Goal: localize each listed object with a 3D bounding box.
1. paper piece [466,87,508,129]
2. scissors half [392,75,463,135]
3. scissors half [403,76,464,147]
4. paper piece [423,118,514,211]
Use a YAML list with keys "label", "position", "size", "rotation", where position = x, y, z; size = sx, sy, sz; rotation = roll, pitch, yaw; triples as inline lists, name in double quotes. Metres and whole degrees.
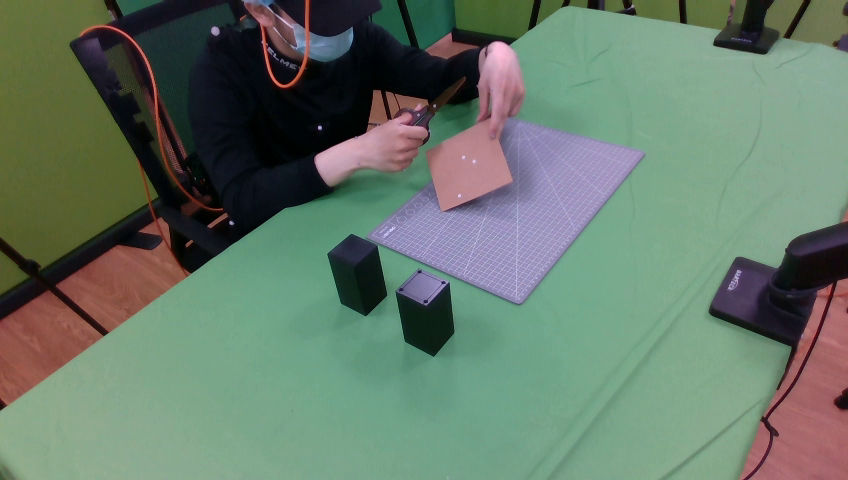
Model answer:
- label: "paper piece"
  position: [0.099, -0.220, 1.141]
  size: [0.135, 0.009, 0.138]
  rotation: [-37, 15, 37]
- label: "scissors half"
  position: [0.004, -0.235, 1.044]
  size: [0.174, 0.040, 0.013]
  rotation: [-28, 16, 37]
- label: "scissors half"
  position: [0.017, -0.221, 1.046]
  size: [0.040, 0.175, 0.013]
  rotation: [43, 40, 1]
- label: "paper piece"
  position: [0.073, -0.131, 1.043]
  size: [0.135, 0.004, 0.135]
  rotation: [-21, 65, 14]
